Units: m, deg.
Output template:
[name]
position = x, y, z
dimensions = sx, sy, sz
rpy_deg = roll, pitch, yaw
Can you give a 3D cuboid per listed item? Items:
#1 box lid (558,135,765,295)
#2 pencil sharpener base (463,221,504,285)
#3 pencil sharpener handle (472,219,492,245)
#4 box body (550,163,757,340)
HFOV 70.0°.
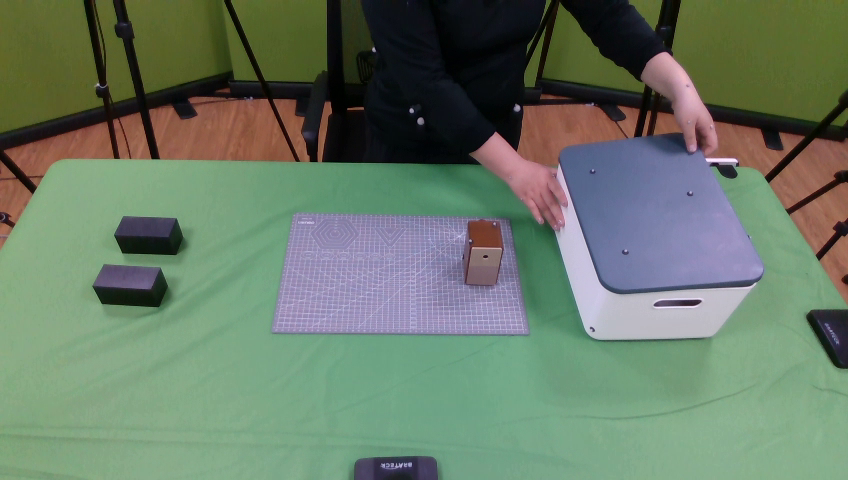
[box lid]
position = 0.398, -0.058, 1.062
dimensions = 0.263, 0.015, 0.369
rpy_deg = -6, 47, 0
[pencil sharpener base]
position = 0.107, 0.024, 1.119
dimensions = 0.061, 0.107, 0.076
rpy_deg = 1, 45, -2
[pencil sharpener handle]
position = 0.104, -0.021, 1.145
dimensions = 0.036, 0.068, 0.030
rpy_deg = 7, 44, -8
[box body]
position = 0.395, 0.003, 1.127
dimensions = 0.254, 0.161, 0.361
rpy_deg = -1, 46, -5
